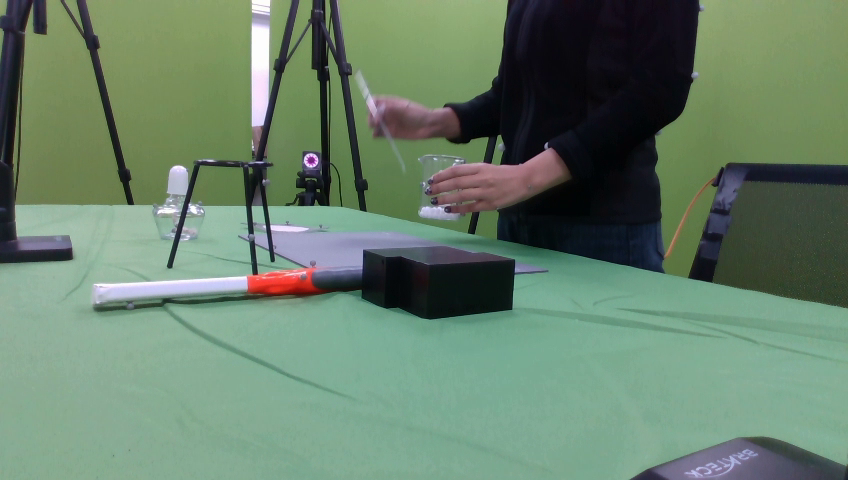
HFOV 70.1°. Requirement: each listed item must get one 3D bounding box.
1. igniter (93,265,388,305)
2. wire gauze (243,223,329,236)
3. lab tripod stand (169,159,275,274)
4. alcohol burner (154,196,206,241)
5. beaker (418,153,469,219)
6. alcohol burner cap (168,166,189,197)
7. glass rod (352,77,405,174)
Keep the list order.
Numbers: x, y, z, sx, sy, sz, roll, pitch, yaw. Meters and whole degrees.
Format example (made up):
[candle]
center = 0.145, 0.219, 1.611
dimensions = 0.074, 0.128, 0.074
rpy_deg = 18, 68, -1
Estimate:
[igniter]
center = -0.164, 0.042, 0.589
dimensions = 0.278, 0.025, 0.057
rpy_deg = -2, -6, -31
[wire gauze]
center = -0.266, -0.024, 1.156
dimensions = 0.124, 0.011, 0.122
rpy_deg = 12, 12, 40
[lab tripod stand]
center = -0.230, -0.030, 0.724
dimensions = 0.148, 0.131, 0.148
rpy_deg = 1, 9, 0
[alcohol burner]
center = -0.393, -0.059, 0.974
dimensions = 0.078, 0.119, 0.078
rpy_deg = 1, 8, 0
[beaker]
center = 0.027, -0.085, 0.962
dimensions = 0.084, 0.100, 0.073
rpy_deg = 2, 4, -22
[alcohol burner cap]
center = -0.392, -0.095, 0.970
dimensions = 0.034, 0.048, 0.034
rpy_deg = 7, 7, -1
[glass rod]
center = -0.082, -0.206, 1.089
dimensions = 0.008, 0.199, 0.008
rpy_deg = -28, -2, -1
